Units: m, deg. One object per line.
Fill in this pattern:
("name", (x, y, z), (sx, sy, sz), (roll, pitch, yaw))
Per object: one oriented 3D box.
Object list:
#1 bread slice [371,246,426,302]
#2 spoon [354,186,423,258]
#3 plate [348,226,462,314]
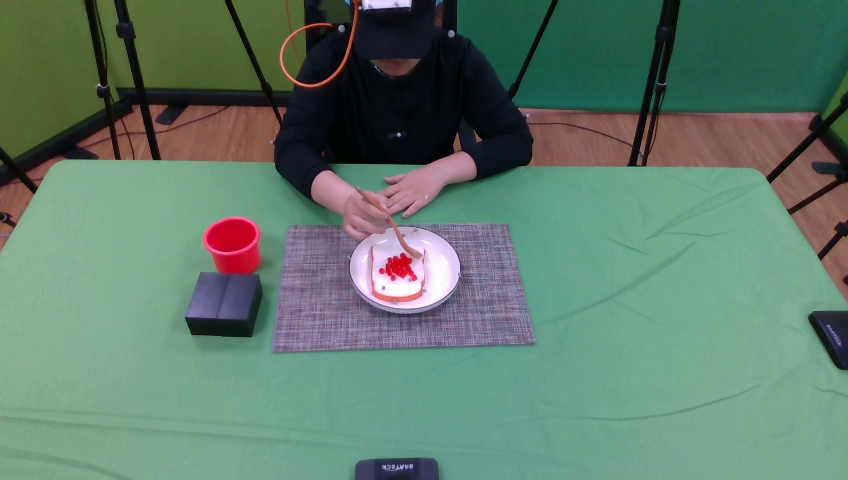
("bread slice", (-0.047, 0.060, 1.123), (0.105, 0.019, 0.130), (0, 45, -3))
("spoon", (-0.063, -0.031, 1.090), (0.021, 0.195, 0.041), (-39, 30, -2))
("plate", (-0.035, 0.058, 1.123), (0.209, 0.038, 0.208), (2, 45, -2))
